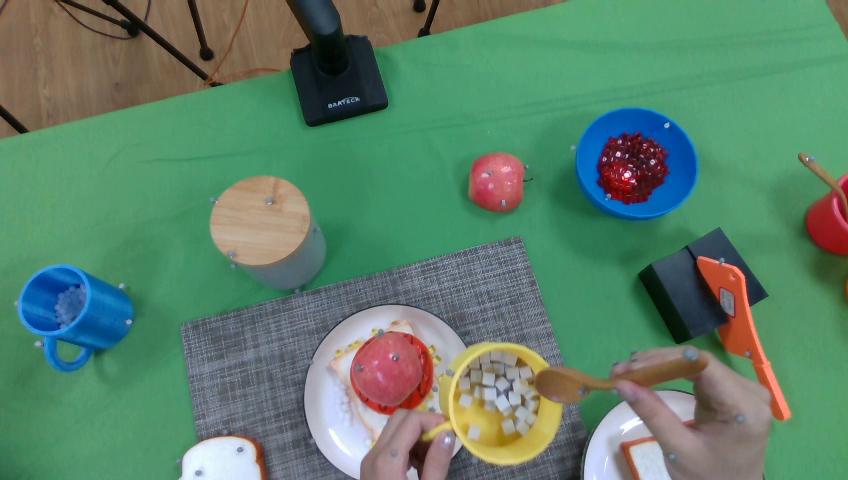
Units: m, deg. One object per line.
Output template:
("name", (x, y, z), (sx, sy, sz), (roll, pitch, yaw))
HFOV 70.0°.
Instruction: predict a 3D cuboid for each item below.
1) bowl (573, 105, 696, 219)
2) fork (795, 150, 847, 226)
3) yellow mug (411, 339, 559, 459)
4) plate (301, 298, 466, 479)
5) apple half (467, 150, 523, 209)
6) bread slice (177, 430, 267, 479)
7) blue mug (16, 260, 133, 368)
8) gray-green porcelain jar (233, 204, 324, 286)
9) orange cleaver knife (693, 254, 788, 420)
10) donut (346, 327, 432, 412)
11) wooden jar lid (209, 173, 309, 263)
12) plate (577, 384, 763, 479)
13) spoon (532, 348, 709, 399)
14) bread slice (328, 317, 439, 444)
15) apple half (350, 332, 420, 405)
("bowl", (0.262, -0.089, 0.787), (0.151, 0.077, 0.150), (0, 73, 0))
("fork", (0.501, -0.058, 0.741), (0.209, 0.018, 0.028), (29, 69, -35))
("yellow mug", (0.049, 0.145, 0.542), (0.131, 0.064, 0.099), (-23, 84, -8))
("plate", (-0.040, 0.175, 0.723), (0.208, 0.039, 0.206), (0, 73, 0))
("apple half", (0.094, -0.086, 0.799), (0.074, 0.053, 0.080), (6, 73, 5))
("bread slice", (-0.235, 0.289, 0.700), (0.105, 0.019, 0.131), (-7, 75, -4))
("blue mug", (-0.413, 0.093, 0.716), (0.082, 0.106, 0.116), (5, 73, 2))
("gray-green porcelain jar", (-0.180, -0.004, 0.736), (0.106, 0.127, 0.105), (0, 72, 0))
("orange cleaver knife", (0.375, 0.114, 0.722), (0.012, 0.077, 0.211), (-25, 96, -14))
("donut", (-0.040, 0.150, 0.702), (0.099, 0.048, 0.098), (0, 73, 0))
("wooden jar lid", (-0.182, -0.023, 0.675), (0.108, 0.021, 0.107), (1, 70, -1))
("plate", (0.278, 0.274, 0.696), (0.209, 0.038, 0.208), (0, 73, 0))
("spoon", (0.132, 0.097, 0.431), (0.042, 0.194, 0.021), (37, 68, -4))
("bread slice", (-0.036, 0.172, 0.725), (0.107, 0.018, 0.133), (-31, 75, -8))
("apple half", (-0.043, 0.140, 0.666), (0.081, 0.033, 0.080), (-3, 69, 7))
